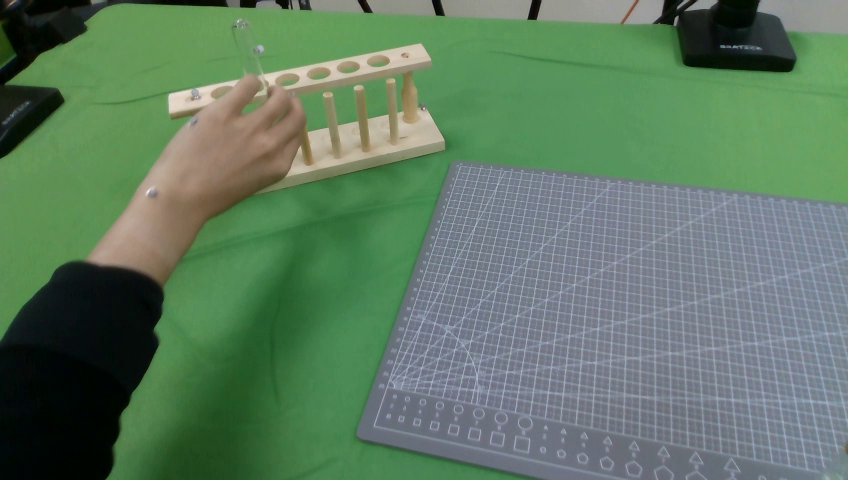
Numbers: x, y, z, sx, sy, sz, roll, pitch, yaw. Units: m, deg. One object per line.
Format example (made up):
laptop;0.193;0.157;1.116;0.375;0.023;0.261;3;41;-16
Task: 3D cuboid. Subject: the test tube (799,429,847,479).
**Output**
test tube;0.182;0.080;0.247;0.017;0.152;0.017;-3;47;4

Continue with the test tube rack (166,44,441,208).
test tube rack;-0.109;-0.112;0.585;0.243;0.086;0.066;-15;47;-10

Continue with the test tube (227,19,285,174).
test tube;-0.146;-0.120;0.533;0.017;0.152;0.017;-2;45;2
